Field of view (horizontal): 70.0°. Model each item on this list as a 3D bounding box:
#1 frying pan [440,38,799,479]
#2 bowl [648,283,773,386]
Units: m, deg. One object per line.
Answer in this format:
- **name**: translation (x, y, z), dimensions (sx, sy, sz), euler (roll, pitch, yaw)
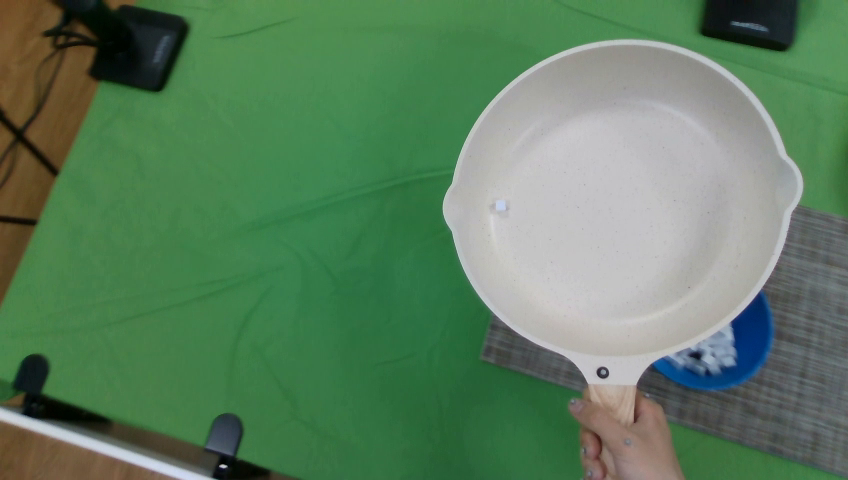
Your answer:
- **frying pan**: translation (0.163, 0.062, 0.540), dimensions (0.306, 0.103, 0.485), euler (-2, 73, 21)
- **bowl**: translation (0.303, 0.092, 0.692), dimensions (0.151, 0.077, 0.150), euler (-1, 75, 5)
